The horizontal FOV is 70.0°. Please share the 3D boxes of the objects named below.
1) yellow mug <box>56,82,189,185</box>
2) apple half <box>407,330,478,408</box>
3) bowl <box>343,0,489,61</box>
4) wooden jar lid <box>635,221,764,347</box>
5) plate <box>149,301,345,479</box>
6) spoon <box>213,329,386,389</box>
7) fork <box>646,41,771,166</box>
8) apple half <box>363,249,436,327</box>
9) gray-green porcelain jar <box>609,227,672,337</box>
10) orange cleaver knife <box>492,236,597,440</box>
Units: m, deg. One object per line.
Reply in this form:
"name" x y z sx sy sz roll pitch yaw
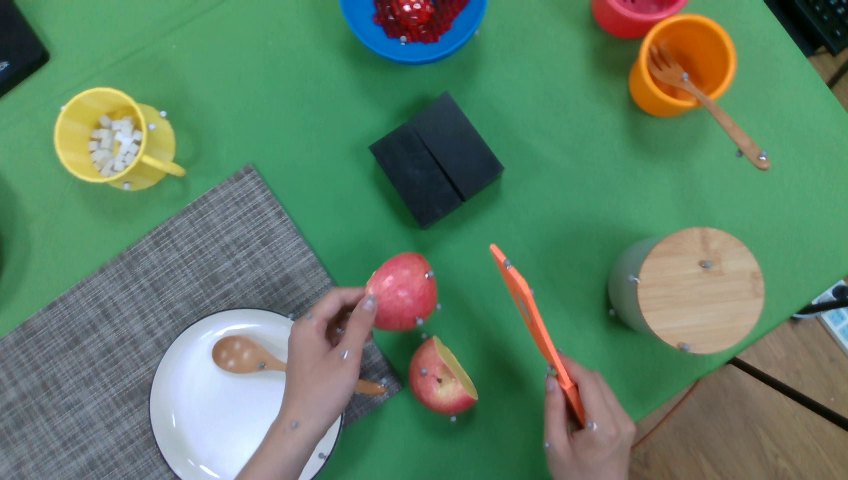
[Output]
"yellow mug" -0.315 -0.106 0.653 0.131 0.064 0.100 27 90 2
"apple half" 0.012 0.139 0.626 0.053 0.074 0.081 -38 90 4
"bowl" -0.005 -0.253 0.631 0.151 0.077 0.151 0 89 3
"wooden jar lid" 0.237 0.038 0.526 0.108 0.021 0.108 0 91 2
"plate" -0.186 0.168 0.651 0.209 0.038 0.209 0 89 3
"spoon" -0.132 0.131 0.635 0.193 0.022 0.041 11 84 15
"fork" 0.267 -0.135 0.578 0.028 0.019 0.205 -20 44 4
"apple half" -0.016 0.050 0.558 0.032 0.082 0.081 20 90 48
"gray-green porcelain jar" 0.242 0.041 0.588 0.106 0.126 0.105 0 88 4
"orange cleaver knife" 0.109 0.091 0.547 0.012 0.076 0.213 -27 113 -1
